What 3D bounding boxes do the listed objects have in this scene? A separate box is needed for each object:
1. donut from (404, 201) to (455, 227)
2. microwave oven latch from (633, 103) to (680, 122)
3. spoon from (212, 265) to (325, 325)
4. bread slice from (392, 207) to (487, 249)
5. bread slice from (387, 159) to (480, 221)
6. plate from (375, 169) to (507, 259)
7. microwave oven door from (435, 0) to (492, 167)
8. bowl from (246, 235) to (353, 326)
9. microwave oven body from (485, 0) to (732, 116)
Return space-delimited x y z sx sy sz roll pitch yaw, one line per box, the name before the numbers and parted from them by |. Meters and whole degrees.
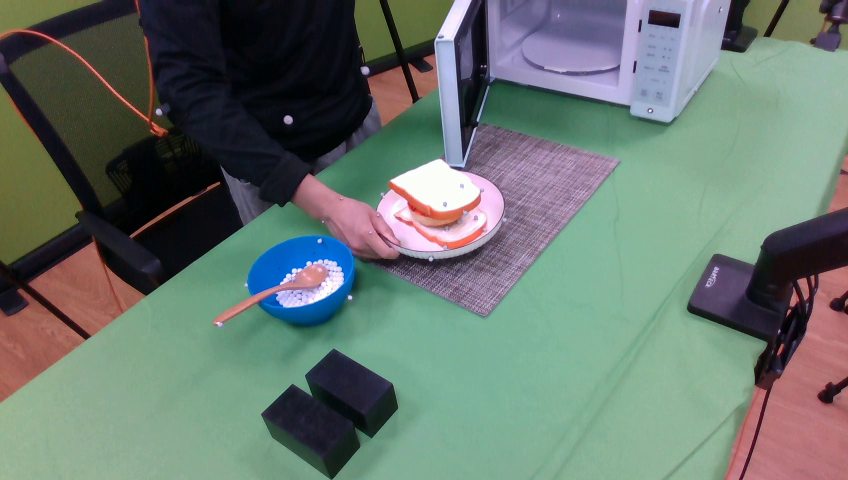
donut | 0.018 -0.061 0.938 0.099 0.048 0.098 -11 44 11
microwave oven latch | 0.443 -0.249 1.157 0.078 0.029 0.030 20 48 30
spoon | -0.208 0.072 0.822 0.041 0.021 0.195 26 28 27
bread slice | 0.033 -0.035 0.957 0.107 0.018 0.133 -35 47 -26
bread slice | 0.022 -0.077 0.917 0.105 0.019 0.130 -27 46 -28
plate | 0.028 -0.038 0.961 0.207 0.039 0.206 -5 41 5
microwave oven door | 0.083 -0.340 1.159 0.039 0.245 0.355 4 42 14
bowl | -0.170 0.070 0.868 0.151 0.077 0.150 -4 41 4
microwave oven body | 0.377 -0.462 1.267 0.438 0.261 0.327 21 49 30
